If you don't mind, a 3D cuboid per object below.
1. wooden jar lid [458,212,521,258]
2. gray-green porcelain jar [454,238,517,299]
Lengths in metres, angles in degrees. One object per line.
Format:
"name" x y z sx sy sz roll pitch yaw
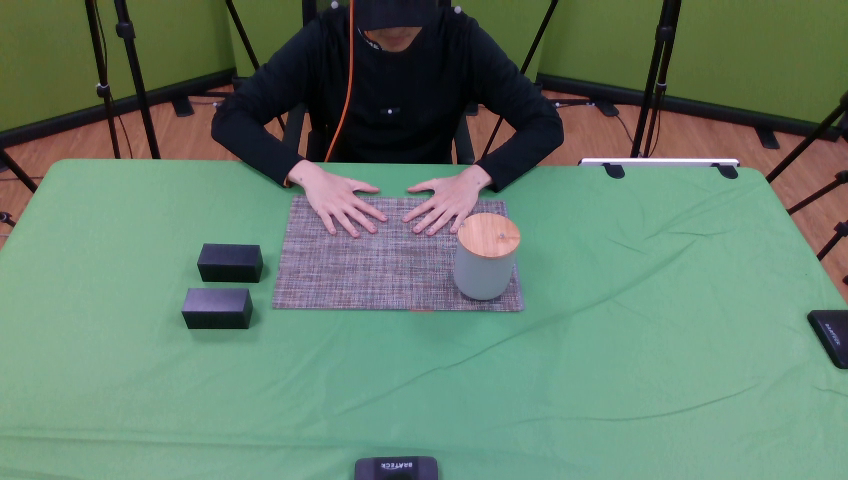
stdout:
"wooden jar lid" 0.112 -0.006 1.048 0.108 0.021 0.107 0 45 0
"gray-green porcelain jar" 0.109 0.036 1.092 0.106 0.127 0.105 2 47 -2
